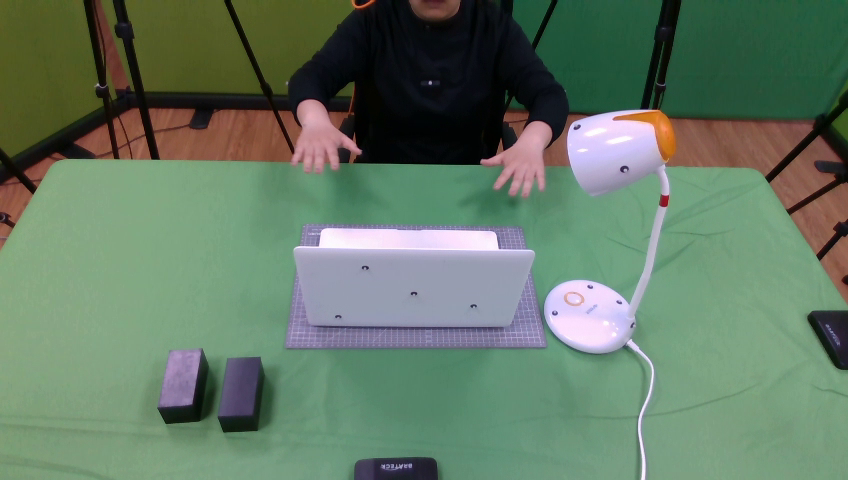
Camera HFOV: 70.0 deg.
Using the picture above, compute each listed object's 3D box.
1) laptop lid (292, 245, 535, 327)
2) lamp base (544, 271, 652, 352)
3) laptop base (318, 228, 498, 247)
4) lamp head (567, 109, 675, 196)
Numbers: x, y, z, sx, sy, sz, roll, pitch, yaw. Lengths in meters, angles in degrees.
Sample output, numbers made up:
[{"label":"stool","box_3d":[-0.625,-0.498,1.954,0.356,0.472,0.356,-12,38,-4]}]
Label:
[{"label":"laptop lid","box_3d":[-0.018,0.080,0.956,0.357,0.243,0.013,2,54,-5]},{"label":"lamp base","box_3d":[0.310,0.086,1.029,0.178,0.181,0.160,32,52,21]},{"label":"laptop base","box_3d":[-0.028,0.066,1.134,0.355,0.023,0.234,1,43,-4]},{"label":"lamp head","box_3d":[0.272,-0.123,0.818,0.122,0.113,0.112,-9,35,37]}]
